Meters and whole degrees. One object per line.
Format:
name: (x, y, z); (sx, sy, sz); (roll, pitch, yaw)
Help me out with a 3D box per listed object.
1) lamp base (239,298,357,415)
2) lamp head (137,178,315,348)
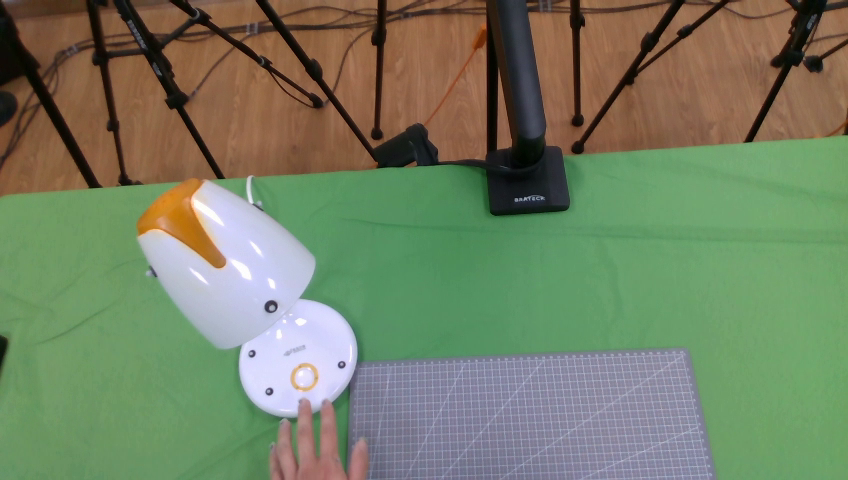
lamp base: (-0.184, 0.112, 0.760); (0.160, 0.182, 0.177); (-31, 62, -10)
lamp head: (-0.169, 0.008, 0.496); (0.112, 0.124, 0.111); (-31, 25, 16)
